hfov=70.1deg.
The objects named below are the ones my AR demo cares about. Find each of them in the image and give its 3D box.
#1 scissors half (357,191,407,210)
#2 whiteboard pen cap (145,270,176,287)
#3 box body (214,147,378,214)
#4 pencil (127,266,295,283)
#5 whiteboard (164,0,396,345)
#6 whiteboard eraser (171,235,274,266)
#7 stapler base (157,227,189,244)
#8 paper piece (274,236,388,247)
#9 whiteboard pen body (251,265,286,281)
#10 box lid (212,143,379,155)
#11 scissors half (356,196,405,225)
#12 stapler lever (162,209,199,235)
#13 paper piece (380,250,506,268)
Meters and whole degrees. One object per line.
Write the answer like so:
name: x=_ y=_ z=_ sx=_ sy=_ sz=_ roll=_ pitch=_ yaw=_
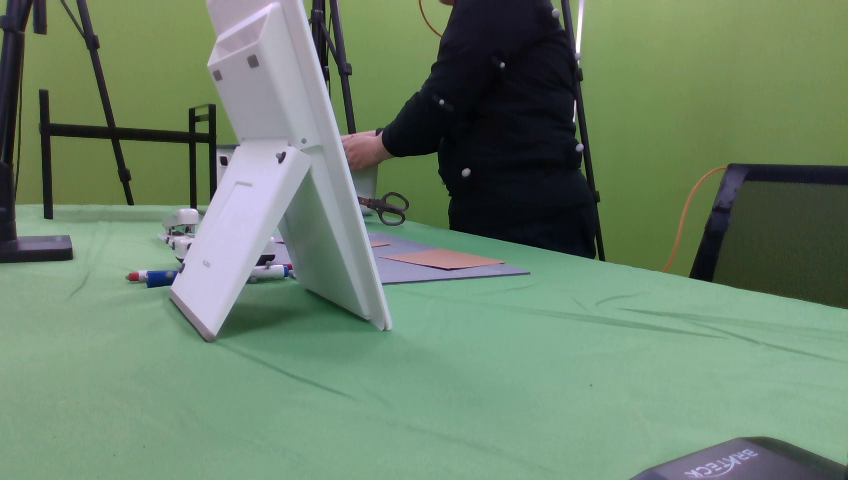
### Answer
scissors half: x=-0.123 y=-0.091 z=1.318 sx=0.175 sy=0.040 sz=0.013 roll=5 pitch=10 yaw=-2
whiteboard pen cap: x=-0.271 y=0.039 z=0.627 sx=0.033 sy=0.018 sz=0.018 roll=-3 pitch=10 yaw=-33
box body: x=-0.329 y=-0.154 z=1.543 sx=0.366 sy=0.160 sz=0.253 roll=-2 pitch=9 yaw=-32
pencil: x=-0.231 y=0.037 z=0.690 sx=0.195 sy=0.012 sz=0.012 roll=-2 pitch=9 yaw=-34
whiteboard: x=-0.172 y=-0.053 z=0.511 sx=0.144 sy=0.305 sz=0.216 roll=-23 pitch=19 yaw=-26
whiteboard eraser: x=-0.248 y=0.014 z=0.747 sx=0.113 sy=0.042 sz=0.055 roll=-1 pitch=9 yaw=-32
stapler base: x=-0.376 y=-0.007 z=0.935 sx=0.041 sy=0.024 sz=0.130 roll=1 pitch=5 yaw=-38
paper piece: x=-0.151 y=0.003 z=0.978 sx=0.135 sy=0.008 sz=0.139 roll=13 pitch=10 yaw=35
whiteboard pen body: x=-0.220 y=0.039 z=0.656 sx=0.141 sy=0.017 sz=0.017 roll=-2 pitch=9 yaw=-30
box lid: x=-0.327 y=-0.227 z=1.533 sx=0.373 sy=0.015 sz=0.262 roll=-2 pitch=8 yaw=-32
scissors half: x=-0.127 y=-0.072 z=1.321 sx=0.175 sy=0.040 sz=0.013 roll=21 pitch=4 yaw=-4
stapler lever: x=-0.376 y=-0.031 z=0.933 sx=0.027 sy=0.040 sz=0.117 roll=1 pitch=7 yaw=-38
paper piece: x=0.026 y=0.026 z=0.865 sx=0.134 sy=0.004 sz=0.136 roll=8 pitch=8 yaw=43
